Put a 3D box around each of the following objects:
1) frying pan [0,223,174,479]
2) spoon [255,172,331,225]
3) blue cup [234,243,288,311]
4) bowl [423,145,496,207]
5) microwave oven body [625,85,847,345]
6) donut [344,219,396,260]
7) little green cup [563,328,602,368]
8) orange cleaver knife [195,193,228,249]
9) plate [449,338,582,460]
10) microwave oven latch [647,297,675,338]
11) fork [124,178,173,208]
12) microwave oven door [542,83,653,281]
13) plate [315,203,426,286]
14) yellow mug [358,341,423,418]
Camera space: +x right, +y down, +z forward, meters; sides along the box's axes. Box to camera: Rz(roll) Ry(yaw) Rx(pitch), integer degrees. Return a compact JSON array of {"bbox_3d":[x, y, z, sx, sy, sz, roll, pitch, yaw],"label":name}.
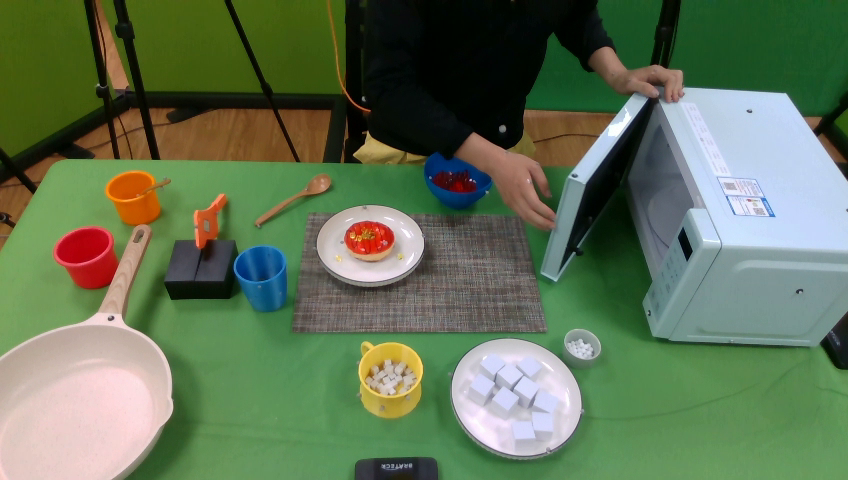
[{"bbox_3d":[-0.505,0.169,0.941,0.307,0.103,0.485,5,54,-1],"label":"frying pan"},{"bbox_3d":[-0.272,-0.087,1.257,0.041,0.022,0.193,46,57,12],"label":"spoon"},{"bbox_3d":[-0.276,0.072,1.052,0.093,0.101,0.092,1,48,-1],"label":"blue cup"},{"bbox_3d":[0.073,-0.123,1.278,0.151,0.077,0.150,2,47,-2],"label":"bowl"},{"bbox_3d":[0.568,-0.054,1.116,0.326,0.261,0.439,2,46,-1],"label":"microwave oven body"},{"bbox_3d":[-0.103,-0.002,1.157,0.099,0.048,0.098,3,43,-2],"label":"donut"},{"bbox_3d":[0.265,0.184,1.025,0.061,0.039,0.061,1,46,-1],"label":"little green cup"},{"bbox_3d":[-0.406,-0.041,1.163,0.012,0.077,0.210,0,18,-3],"label":"orange cleaver knife"},{"bbox_3d":[0.141,0.251,0.955,0.208,0.039,0.206,2,46,-2],"label":"plate"},{"bbox_3d":[0.413,0.133,1.060,0.030,0.029,0.078,5,46,2],"label":"microwave oven latch"},{"bbox_3d":[-0.525,-0.090,1.154,0.207,0.019,0.028,-17,27,45],"label":"fork"},{"bbox_3d":[0.336,-0.118,1.153,0.039,0.245,0.355,27,51,20],"label":"microwave oven door"},{"bbox_3d":[-0.101,0.012,1.159,0.209,0.038,0.208,2,46,-2],"label":"plate"},{"bbox_3d":[-0.063,0.210,0.961,0.100,0.064,0.130,-29,54,-27],"label":"yellow mug"}]
